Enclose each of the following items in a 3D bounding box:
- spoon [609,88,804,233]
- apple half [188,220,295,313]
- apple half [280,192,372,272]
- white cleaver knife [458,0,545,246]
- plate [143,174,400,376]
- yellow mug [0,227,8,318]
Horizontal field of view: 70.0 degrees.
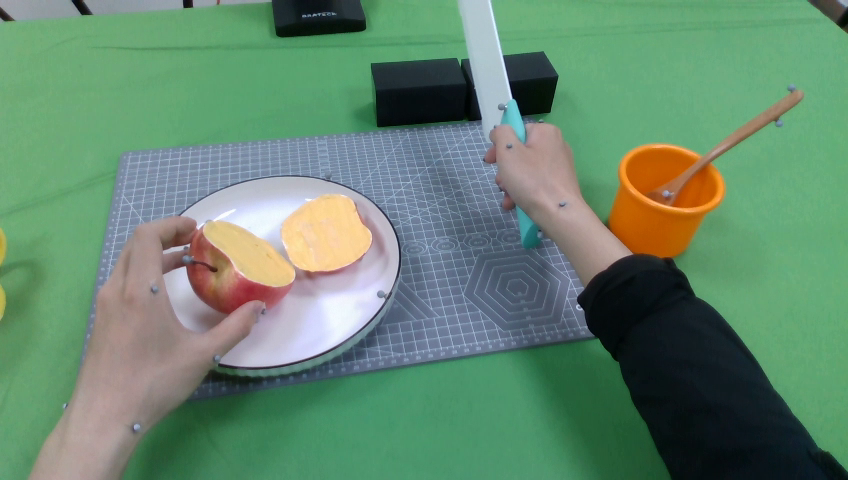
[{"bbox_3d":[0.252,-0.070,0.548,0.022,0.194,0.041,28,30,-39],"label":"spoon"},{"bbox_3d":[-0.149,0.028,0.481,0.080,0.053,0.075,39,14,11],"label":"apple half"},{"bbox_3d":[-0.086,-0.001,0.533,0.081,0.033,0.080,-1,62,2],"label":"apple half"},{"bbox_3d":[0.070,-0.131,0.575,0.021,0.066,0.285,-4,75,-20],"label":"white cleaver knife"},{"bbox_3d":[-0.124,0.027,0.515,0.209,0.038,0.207,2,49,-2],"label":"plate"},{"bbox_3d":[-0.390,0.033,0.480,0.099,0.064,0.130,20,50,14],"label":"yellow mug"}]
